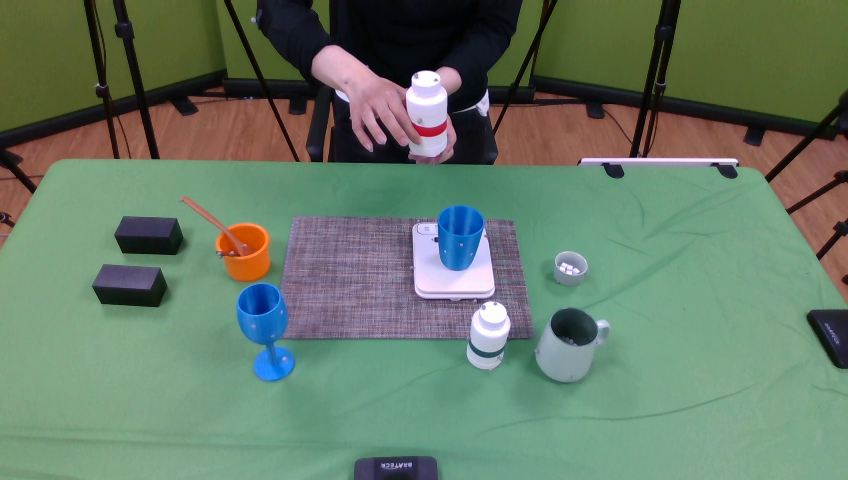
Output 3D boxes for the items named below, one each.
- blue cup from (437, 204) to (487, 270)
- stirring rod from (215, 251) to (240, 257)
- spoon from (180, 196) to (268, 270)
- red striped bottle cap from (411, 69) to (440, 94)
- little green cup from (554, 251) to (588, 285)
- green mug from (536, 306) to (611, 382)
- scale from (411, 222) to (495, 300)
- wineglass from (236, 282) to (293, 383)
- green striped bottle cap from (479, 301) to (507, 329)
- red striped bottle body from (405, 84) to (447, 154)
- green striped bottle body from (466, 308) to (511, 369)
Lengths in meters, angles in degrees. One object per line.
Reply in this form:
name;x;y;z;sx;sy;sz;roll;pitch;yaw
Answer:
blue cup;0.062;0.000;1.098;0.093;0.101;0.092;2;44;-2
stirring rod;-0.340;0.024;1.059;0.014;0.176;0.006;16;86;-6
spoon;-0.359;-0.014;1.095;0.021;0.194;0.041;-27;26;31
red striped bottle cap;0.002;-0.234;0.894;0.044;0.018;0.044;-2;48;2
little green cup;0.277;0.055;1.151;0.061;0.039;0.061;1;46;-1
green mug;0.250;0.167;0.996;0.125;0.105;0.092;-15;48;-18
scale;0.052;0.031;1.158;0.149;0.032;0.199;1;46;-4
wineglass;-0.243;0.143;0.934;0.074;0.173;0.073;2;46;-2
green striped bottle cap;0.109;0.118;0.950;0.044;0.020;0.044;2;46;-2
red striped bottle body;0.003;-0.196;0.932;0.063;0.120;0.062;-1;46;1
green striped bottle body;0.106;0.154;0.988;0.063;0.120;0.063;2;46;-2
